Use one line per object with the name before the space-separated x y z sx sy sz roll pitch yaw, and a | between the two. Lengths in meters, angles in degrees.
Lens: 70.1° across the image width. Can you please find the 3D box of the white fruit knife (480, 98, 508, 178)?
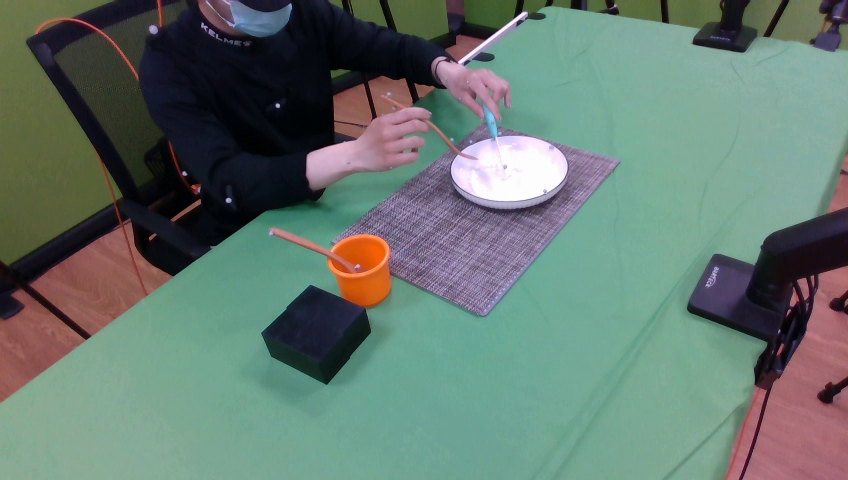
white fruit knife | 0.128 -0.187 1.085 0.016 0.027 0.206 -10 53 -1

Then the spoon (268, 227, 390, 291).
spoon | -0.132 0.025 0.862 0.021 0.195 0.041 -40 32 32

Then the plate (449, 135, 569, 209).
plate | 0.149 -0.117 1.066 0.209 0.038 0.208 -3 41 3

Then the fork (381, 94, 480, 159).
fork | 0.013 -0.185 1.004 0.018 0.209 0.028 -54 30 6
